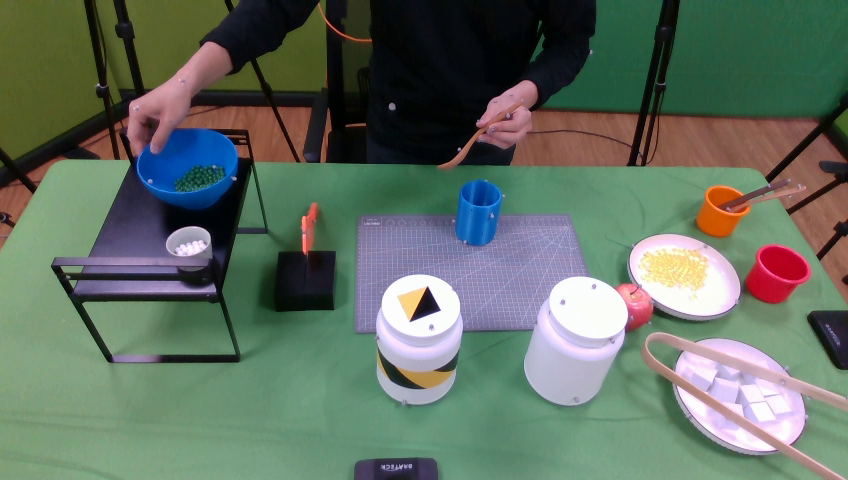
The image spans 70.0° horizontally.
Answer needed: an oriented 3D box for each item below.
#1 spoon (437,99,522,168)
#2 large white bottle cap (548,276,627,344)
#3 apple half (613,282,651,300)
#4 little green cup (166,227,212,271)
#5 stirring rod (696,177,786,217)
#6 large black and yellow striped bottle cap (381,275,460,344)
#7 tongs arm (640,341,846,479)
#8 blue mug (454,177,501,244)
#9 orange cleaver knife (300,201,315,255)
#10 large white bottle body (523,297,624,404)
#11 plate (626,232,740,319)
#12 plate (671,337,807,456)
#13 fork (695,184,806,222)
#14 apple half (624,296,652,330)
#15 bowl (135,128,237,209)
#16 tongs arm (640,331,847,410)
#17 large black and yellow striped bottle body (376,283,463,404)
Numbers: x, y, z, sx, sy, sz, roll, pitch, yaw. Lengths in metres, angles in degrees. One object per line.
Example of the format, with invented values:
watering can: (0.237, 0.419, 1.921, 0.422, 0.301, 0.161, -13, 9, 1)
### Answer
spoon: (0.090, -0.175, 1.013, 0.021, 0.194, 0.041, 53, 36, 5)
large white bottle cap: (0.240, 0.100, 0.890, 0.115, 0.018, 0.114, 3, 47, -3)
apple half: (0.356, 0.109, 1.086, 0.081, 0.075, 0.053, -14, 44, -12)
little green cup: (-0.344, 0.014, 0.895, 0.061, 0.039, 0.061, 3, 46, -3)
stirring rod: (0.648, -0.087, 1.244, 0.176, 0.006, 0.014, -25, 50, 29)
large black and yellow striped bottle cap: (-0.005, 0.098, 0.875, 0.115, 0.019, 0.114, 2, 45, -2)
tongs arm: (0.500, 0.278, 0.920, 0.386, 0.028, 0.028, 34, 60, 22)
blue mug: (0.106, -0.067, 1.208, 0.082, 0.106, 0.116, 6, 46, 1)
orange cleaver knife: (-0.222, -0.027, 1.161, 0.012, 0.077, 0.210, -2, 15, -4)
large white bottle body: (0.235, 0.159, 0.952, 0.131, 0.185, 0.130, 2, 47, -2)
plate: (0.489, 0.070, 1.157, 0.209, 0.038, 0.208, 3, 46, -3)
plate: (0.504, 0.254, 0.984, 0.208, 0.039, 0.206, 2, 46, -2)
fork: (0.658, -0.074, 1.230, 0.207, 0.019, 0.028, -24, 33, 36)
apple half: (0.368, 0.135, 1.060, 0.081, 0.081, 0.032, -11, 43, -15)
bowl: (-0.373, -0.102, 0.974, 0.151, 0.077, 0.150, 3, 50, -3)
tongs arm: (0.543, 0.226, 0.969, 0.384, 0.026, 0.050, 22, 53, 13)
large black and yellow striped bottle body: (-0.010, 0.155, 0.937, 0.131, 0.185, 0.130, 2, 47, -2)
